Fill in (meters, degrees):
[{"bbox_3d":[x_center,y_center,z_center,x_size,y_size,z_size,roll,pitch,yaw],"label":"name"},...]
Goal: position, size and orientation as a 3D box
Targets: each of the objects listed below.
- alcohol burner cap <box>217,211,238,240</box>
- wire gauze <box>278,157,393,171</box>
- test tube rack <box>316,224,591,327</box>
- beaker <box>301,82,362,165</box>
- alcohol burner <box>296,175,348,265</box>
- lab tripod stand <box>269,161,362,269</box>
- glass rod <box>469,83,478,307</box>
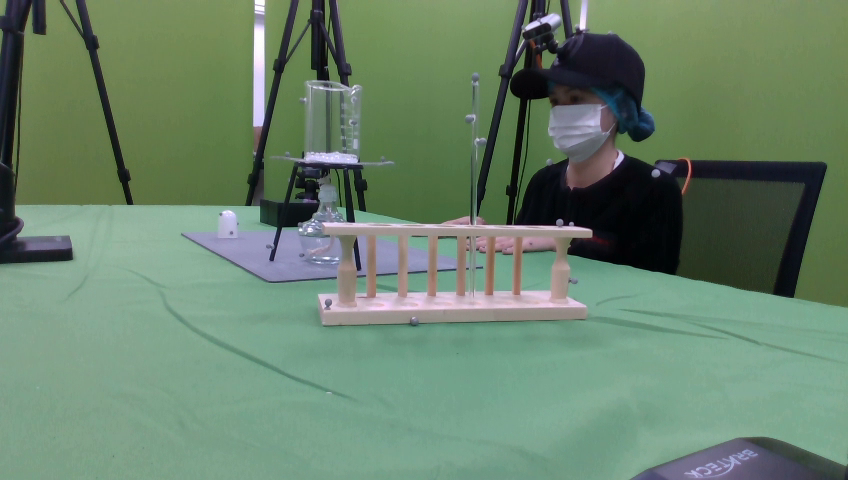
[{"bbox_3d":[-0.323,-0.024,0.994,0.034,0.048,0.034,3,8,0],"label":"alcohol burner cap"},{"bbox_3d":[-0.122,-0.100,0.786,0.122,0.011,0.124,-5,14,-38],"label":"wire gauze"},{"bbox_3d":[0.026,0.028,0.555,0.243,0.085,0.066,1,7,-14],"label":"test tube rack"},{"bbox_3d":[-0.117,-0.147,0.776,0.074,0.100,0.083,-3,10,-38],"label":"beaker"},{"bbox_3d":[-0.129,-0.026,0.798,0.078,0.119,0.078,2,9,0],"label":"alcohol burner"},{"bbox_3d":[-0.125,-0.036,0.794,0.148,0.131,0.148,5,7,0],"label":"lab tripod stand"},{"bbox_3d":[0.043,-0.033,0.523,0.008,0.199,0.008,-1,14,1],"label":"glass rod"}]
